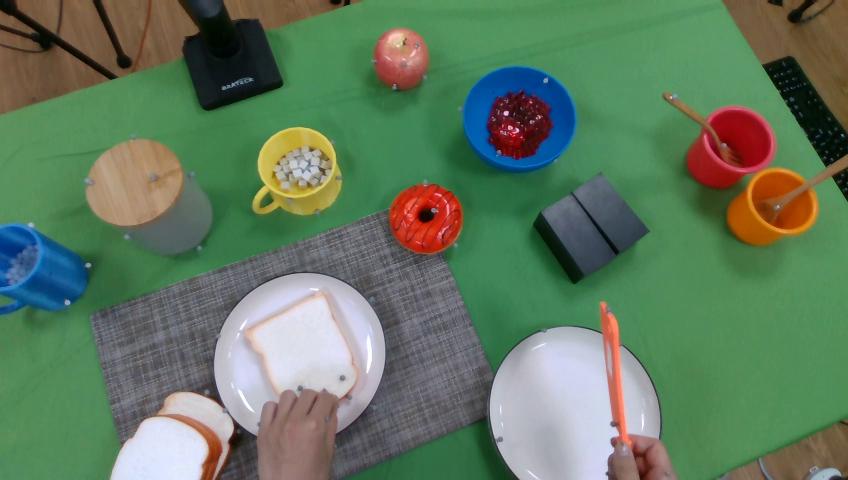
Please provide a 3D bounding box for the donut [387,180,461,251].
[{"bbox_3d":[0.000,-0.033,0.798,0.099,0.048,0.098,1,73,-2],"label":"donut"}]

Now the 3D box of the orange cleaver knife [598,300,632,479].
[{"bbox_3d":[0.195,0.168,0.622,0.012,0.077,0.211,-6,88,6],"label":"orange cleaver knife"}]

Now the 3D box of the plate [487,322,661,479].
[{"bbox_3d":[0.178,0.206,0.736,0.209,0.038,0.208,0,73,-1],"label":"plate"}]

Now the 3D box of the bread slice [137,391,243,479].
[{"bbox_3d":[-0.266,0.245,0.707,0.105,0.019,0.131,14,71,-5],"label":"bread slice"}]

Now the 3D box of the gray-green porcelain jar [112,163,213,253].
[{"bbox_3d":[-0.329,-0.046,0.755,0.106,0.127,0.105,0,72,-1],"label":"gray-green porcelain jar"}]

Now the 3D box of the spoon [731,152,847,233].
[{"bbox_3d":[0.484,-0.070,0.772,0.022,0.194,0.041,-8,64,-52],"label":"spoon"}]

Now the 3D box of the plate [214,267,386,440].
[{"bbox_3d":[-0.149,0.137,0.745,0.208,0.039,0.206,1,73,-1],"label":"plate"}]

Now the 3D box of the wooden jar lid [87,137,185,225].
[{"bbox_3d":[-0.328,-0.066,0.695,0.108,0.021,0.107,0,71,0],"label":"wooden jar lid"}]

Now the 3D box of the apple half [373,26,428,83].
[{"bbox_3d":[-0.027,-0.266,0.858,0.080,0.075,0.053,33,69,13],"label":"apple half"}]

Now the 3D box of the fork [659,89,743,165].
[{"bbox_3d":[0.367,-0.146,0.792,0.209,0.018,0.028,24,66,-37],"label":"fork"}]

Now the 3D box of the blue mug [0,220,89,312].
[{"bbox_3d":[-0.487,0.043,0.733,0.082,0.106,0.116,41,76,11],"label":"blue mug"}]

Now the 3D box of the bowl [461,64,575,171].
[{"bbox_3d":[0.122,-0.153,0.825,0.151,0.077,0.150,0,73,-1],"label":"bowl"}]

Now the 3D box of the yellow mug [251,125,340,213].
[{"bbox_3d":[-0.176,-0.083,0.802,0.099,0.064,0.131,44,77,11],"label":"yellow mug"}]

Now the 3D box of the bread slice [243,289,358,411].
[{"bbox_3d":[-0.143,0.139,0.745,0.107,0.018,0.133,-32,76,-9],"label":"bread slice"}]

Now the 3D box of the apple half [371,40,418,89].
[{"bbox_3d":[-0.048,-0.236,0.847,0.081,0.082,0.032,34,70,9],"label":"apple half"}]
